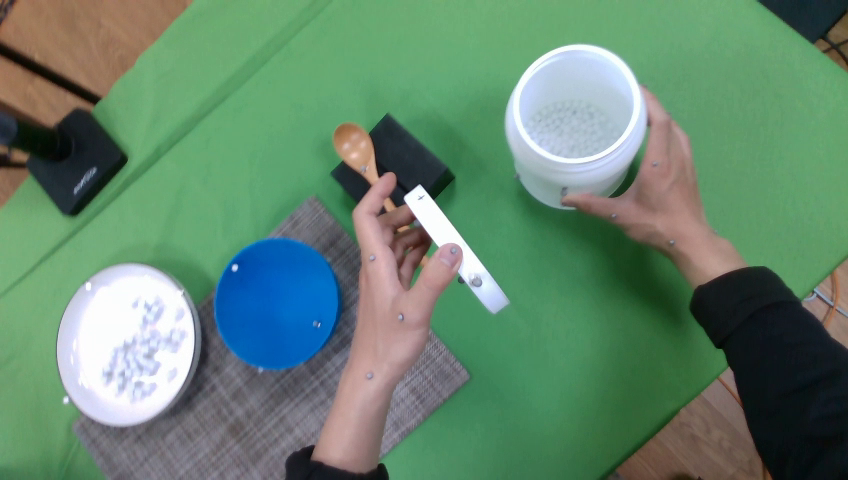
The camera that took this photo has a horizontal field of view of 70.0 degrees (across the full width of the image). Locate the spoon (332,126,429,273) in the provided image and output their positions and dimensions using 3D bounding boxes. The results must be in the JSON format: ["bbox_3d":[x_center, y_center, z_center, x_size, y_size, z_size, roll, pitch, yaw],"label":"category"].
[{"bbox_3d":[-0.047,-0.045,0.692,0.041,0.022,0.193,-30,84,1],"label":"spoon"}]

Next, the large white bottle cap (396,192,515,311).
[{"bbox_3d":[0.025,0.008,0.465,0.018,0.115,0.114,-45,77,7],"label":"large white bottle cap"}]

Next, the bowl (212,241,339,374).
[{"bbox_3d":[-0.162,0.079,0.716,0.151,0.077,0.151,-1,83,12],"label":"bowl"}]

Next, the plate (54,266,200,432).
[{"bbox_3d":[-0.375,0.137,0.776,0.208,0.038,0.208,-2,81,14],"label":"plate"}]

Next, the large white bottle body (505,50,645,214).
[{"bbox_3d":[0.151,-0.104,0.619,0.130,0.185,0.130,-1,83,12],"label":"large white bottle body"}]
